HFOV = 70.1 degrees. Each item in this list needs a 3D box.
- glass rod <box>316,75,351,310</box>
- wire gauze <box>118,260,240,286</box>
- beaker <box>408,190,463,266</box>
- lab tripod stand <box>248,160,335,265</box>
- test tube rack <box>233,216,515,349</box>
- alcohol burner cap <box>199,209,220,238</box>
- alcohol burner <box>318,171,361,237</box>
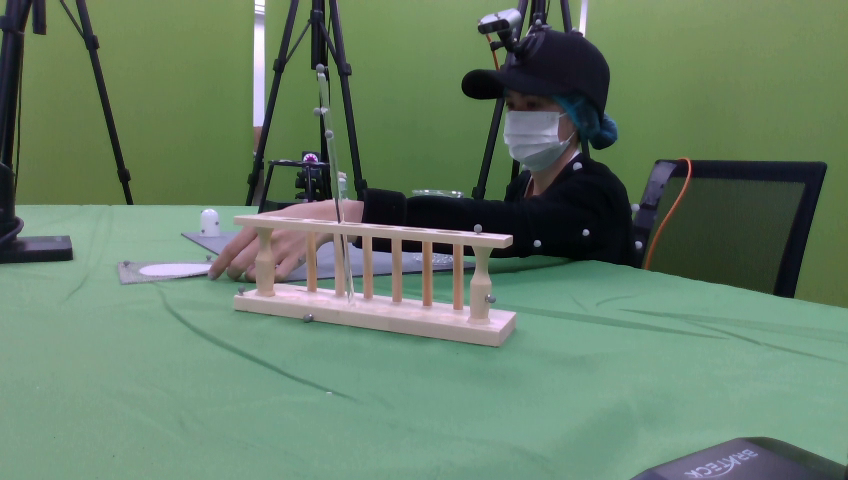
[{"bbox_3d":[-0.075,-0.036,0.502,0.008,0.199,0.008,-6,8,1],"label":"glass rod"},{"bbox_3d":[-0.288,0.033,0.706,0.122,0.011,0.124,-5,8,-29],"label":"wire gauze"},{"bbox_3d":[0.018,-0.017,0.840,0.074,0.100,0.083,-3,9,-35],"label":"beaker"},{"bbox_3d":[-0.165,-0.040,0.817,0.148,0.131,0.148,5,7,0],"label":"lab tripod stand"},{"bbox_3d":[-0.045,0.029,0.525,0.241,0.085,0.067,5,7,19],"label":"test tube rack"},{"bbox_3d":[-0.356,-0.027,1.002,0.034,0.048,0.034,3,7,0],"label":"alcohol burner cap"},{"bbox_3d":[-0.155,-0.066,1.104,0.078,0.119,0.078,1,8,0],"label":"alcohol burner"}]
